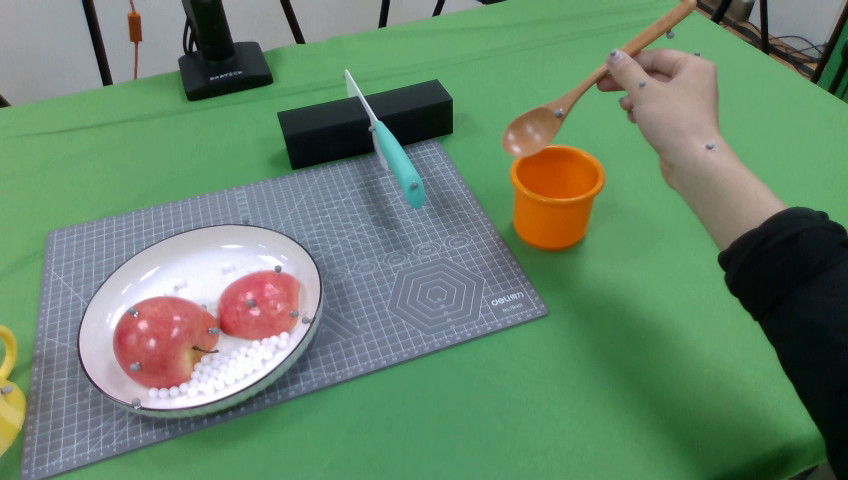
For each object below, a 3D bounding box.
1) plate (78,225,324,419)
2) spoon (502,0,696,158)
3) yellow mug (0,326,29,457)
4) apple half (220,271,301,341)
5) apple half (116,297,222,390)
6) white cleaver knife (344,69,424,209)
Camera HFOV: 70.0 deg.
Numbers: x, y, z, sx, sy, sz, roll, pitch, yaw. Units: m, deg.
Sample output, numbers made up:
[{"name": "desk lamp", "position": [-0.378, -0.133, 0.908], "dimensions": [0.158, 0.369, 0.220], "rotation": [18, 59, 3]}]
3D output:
[{"name": "plate", "position": [-0.192, 0.070, 0.543], "dimensions": [0.209, 0.038, 0.207], "rotation": [-1, 45, 1]}, {"name": "spoon", "position": [0.148, -0.138, 0.523], "dimensions": [0.022, 0.194, 0.041], "rotation": [6, 50, -57]}, {"name": "yellow mug", "position": [-0.374, 0.124, 0.482], "dimensions": [0.100, 0.064, 0.130], "rotation": [9, 46, 11]}, {"name": "apple half", "position": [-0.150, 0.053, 0.548], "dimensions": [0.081, 0.033, 0.080], "rotation": [0, 48, 1]}, {"name": "apple half", "position": [-0.220, 0.079, 0.513], "dimensions": [0.074, 0.054, 0.080], "rotation": [17, 49, 22]}, {"name": "white cleaver knife", "position": [-0.052, -0.120, 0.706], "dimensions": [0.021, 0.066, 0.283], "rotation": [-19, 43, -9]}]
